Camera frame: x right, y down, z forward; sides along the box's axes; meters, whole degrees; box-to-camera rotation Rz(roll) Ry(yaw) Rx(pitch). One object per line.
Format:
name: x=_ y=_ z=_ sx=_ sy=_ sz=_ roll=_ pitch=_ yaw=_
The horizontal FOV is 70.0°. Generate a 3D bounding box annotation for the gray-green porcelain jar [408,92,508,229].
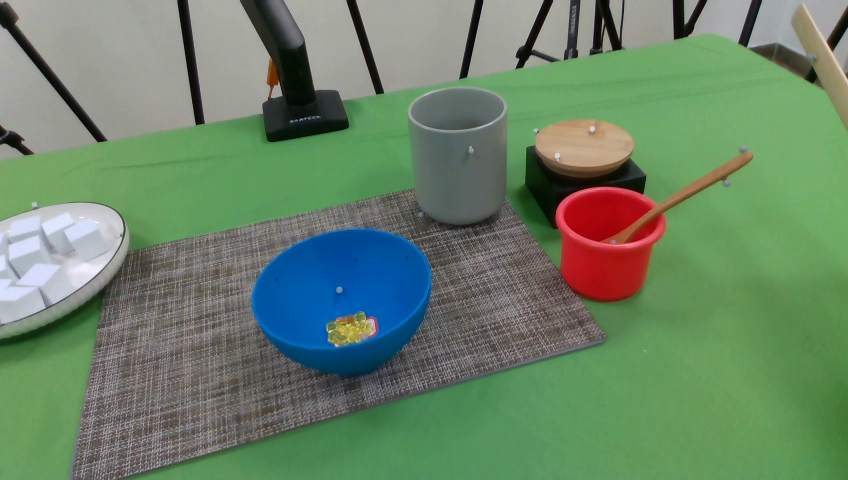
gray-green porcelain jar: x=0.039 y=-0.084 z=0.672 sx=0.106 sy=0.127 sz=0.105 roll=-3 pitch=38 yaw=3

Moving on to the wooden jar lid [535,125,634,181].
wooden jar lid: x=0.180 y=-0.098 z=0.686 sx=0.108 sy=0.021 sz=0.107 roll=-4 pitch=38 yaw=3

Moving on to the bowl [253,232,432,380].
bowl: x=-0.065 y=0.068 z=0.529 sx=0.151 sy=0.077 sz=0.150 roll=-3 pitch=38 yaw=3

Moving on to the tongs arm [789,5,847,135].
tongs arm: x=0.380 y=-0.070 z=0.495 sx=0.028 sy=0.028 sz=0.383 roll=-4 pitch=54 yaw=2

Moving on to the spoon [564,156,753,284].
spoon: x=0.211 y=-0.016 z=0.558 sx=0.194 sy=0.022 sz=0.041 roll=-41 pitch=28 yaw=28

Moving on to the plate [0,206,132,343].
plate: x=-0.415 y=0.037 z=0.643 sx=0.209 sy=0.038 sz=0.207 roll=-4 pitch=38 yaw=3
